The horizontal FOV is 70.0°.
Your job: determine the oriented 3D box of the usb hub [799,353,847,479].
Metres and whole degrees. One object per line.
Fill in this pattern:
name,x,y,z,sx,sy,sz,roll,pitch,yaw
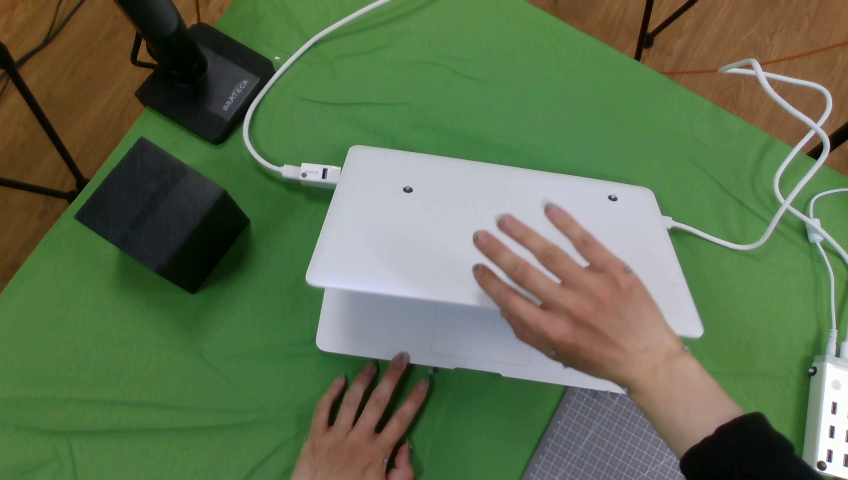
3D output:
usb hub,0.439,0.189,0.651,0.049,0.025,0.124,15,75,2

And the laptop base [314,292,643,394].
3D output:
laptop base,0.071,0.032,0.677,0.354,0.023,0.234,8,77,-1

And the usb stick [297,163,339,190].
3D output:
usb stick,-0.110,-0.069,0.678,0.059,0.027,0.021,7,78,-6

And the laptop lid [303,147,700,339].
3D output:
laptop lid,0.077,-0.011,0.607,0.357,0.013,0.239,9,40,0
